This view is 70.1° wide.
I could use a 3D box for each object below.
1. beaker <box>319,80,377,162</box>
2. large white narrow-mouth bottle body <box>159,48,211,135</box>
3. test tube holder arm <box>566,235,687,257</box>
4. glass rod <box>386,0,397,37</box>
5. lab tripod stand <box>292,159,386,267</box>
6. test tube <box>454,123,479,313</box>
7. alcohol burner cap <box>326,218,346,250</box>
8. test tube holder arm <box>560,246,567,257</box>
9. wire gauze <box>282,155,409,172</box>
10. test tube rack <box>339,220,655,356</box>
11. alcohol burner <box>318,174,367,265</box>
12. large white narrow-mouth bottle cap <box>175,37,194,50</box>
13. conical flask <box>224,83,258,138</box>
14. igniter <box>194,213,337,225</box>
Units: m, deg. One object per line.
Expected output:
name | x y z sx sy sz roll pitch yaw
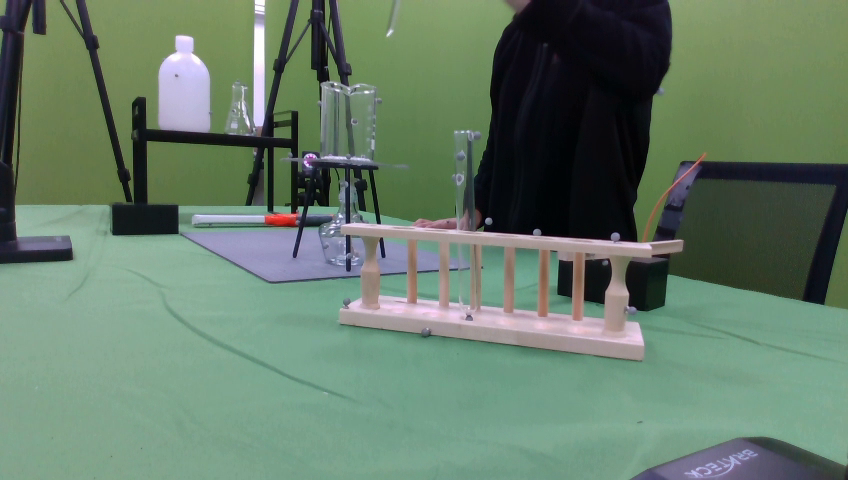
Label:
beaker | -0.098 -0.150 0.777 0.074 0.100 0.084 1 7 -7
large white narrow-mouth bottle body | -0.503 -0.323 1.275 0.102 0.194 0.102 2 7 0
test tube holder arm | 0.215 0.006 0.630 0.179 0.015 0.013 -3 9 -31
glass rod | -0.022 -0.327 0.671 0.008 0.199 0.008 11 13 -2
lab tripod stand | -0.105 -0.039 0.798 0.148 0.131 0.148 2 5 0
test tube | 0.034 -0.016 0.477 0.017 0.150 0.017 -2 9 1
alcohol burner cap | -0.133 -0.010 0.927 0.034 0.048 0.034 3 8 0
test tube holder arm | 0.173 0.007 0.611 0.088 0.015 0.010 -3 9 -30
wire gauze | -0.104 -0.103 0.785 0.126 0.011 0.121 1 8 -39
test tube rack | 0.056 0.032 0.495 0.242 0.085 0.067 4 7 15
alcohol burner | -0.100 -0.028 0.790 0.078 0.119 0.078 0 6 0
large white narrow-mouth bottle cap | -0.501 -0.409 1.264 0.038 0.024 0.037 2 7 0
conical flask | -0.422 -0.299 1.395 0.075 0.122 0.075 2 7 0
igniter | -0.306 -0.042 1.196 0.278 0.025 0.057 -2 -2 -31
